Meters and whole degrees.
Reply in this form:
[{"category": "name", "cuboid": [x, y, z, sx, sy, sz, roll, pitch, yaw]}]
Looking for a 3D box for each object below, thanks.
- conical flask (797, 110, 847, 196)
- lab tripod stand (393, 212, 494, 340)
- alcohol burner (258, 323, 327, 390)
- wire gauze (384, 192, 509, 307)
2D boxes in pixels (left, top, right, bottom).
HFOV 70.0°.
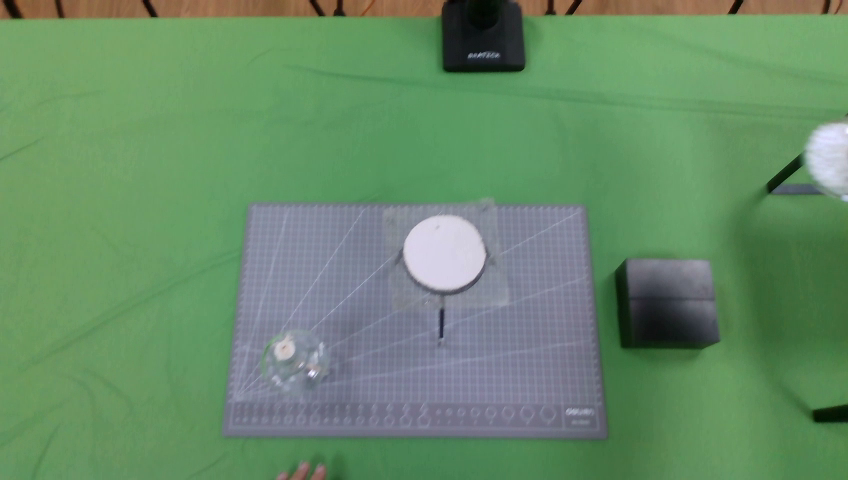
[{"category": "conical flask", "cuboid": [0.366, -0.083, 0.480, 0.075, 0.122, 0.075, 0, 81, -1]}, {"category": "lab tripod stand", "cuboid": [0.024, 0.030, 0.706, 0.148, 0.132, 0.147, 0, 68, 0]}, {"category": "alcohol burner", "cuboid": [-0.151, 0.127, 0.682, 0.078, 0.120, 0.077, 1, 69, -1]}, {"category": "wire gauze", "cuboid": [0.022, 0.010, 0.642, 0.125, 0.011, 0.120, -4, 71, -2]}]
